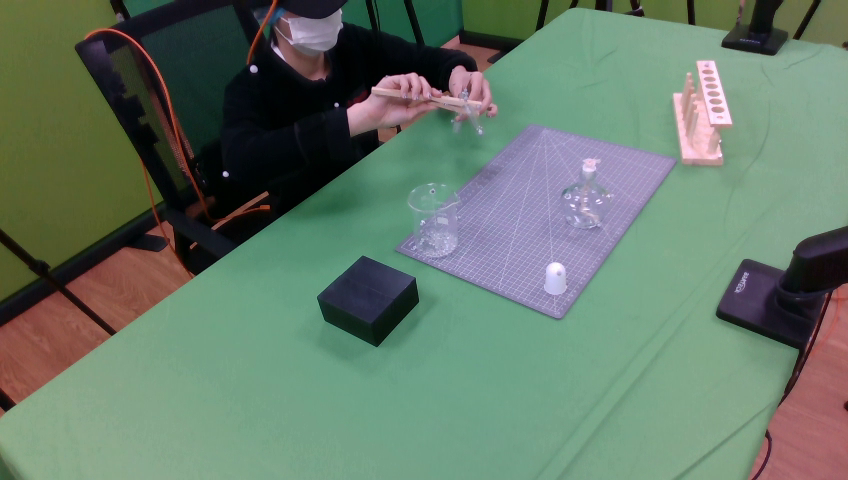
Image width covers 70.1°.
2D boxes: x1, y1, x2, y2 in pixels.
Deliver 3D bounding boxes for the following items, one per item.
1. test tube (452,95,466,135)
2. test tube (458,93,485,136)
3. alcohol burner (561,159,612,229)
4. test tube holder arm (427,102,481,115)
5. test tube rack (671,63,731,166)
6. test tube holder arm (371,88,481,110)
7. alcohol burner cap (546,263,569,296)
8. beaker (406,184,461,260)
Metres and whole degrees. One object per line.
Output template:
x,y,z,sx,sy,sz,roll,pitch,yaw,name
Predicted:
0.063,-0.224,1.097,0.017,0.150,0.017,0,77,-1,test tube
0.075,-0.201,0.964,0.017,0.017,0.149,-10,35,-3,test tube
0.257,-0.077,0.951,0.078,0.119,0.077,-3,40,3,alcohol burner
0.048,-0.216,0.980,0.088,0.010,0.015,9,32,-6,test tube holder arm
0.513,-0.241,1.132,0.066,0.085,0.242,4,41,14,test tube rack
0.004,-0.227,0.973,0.179,0.013,0.015,8,32,-5,test tube holder arm
0.191,0.053,0.862,0.034,0.048,0.033,-5,40,4,alcohol burner cap
0.019,-0.026,0.939,0.084,0.101,0.074,1,41,9,beaker
